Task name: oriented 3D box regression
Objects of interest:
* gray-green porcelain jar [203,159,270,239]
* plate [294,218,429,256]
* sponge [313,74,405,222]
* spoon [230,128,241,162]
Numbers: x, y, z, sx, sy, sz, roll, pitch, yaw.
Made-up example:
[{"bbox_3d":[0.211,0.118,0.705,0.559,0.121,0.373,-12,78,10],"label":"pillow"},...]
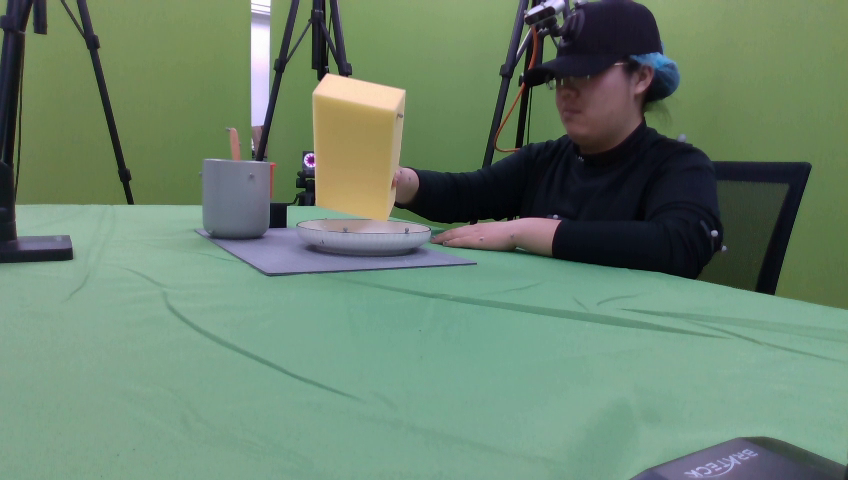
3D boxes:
[{"bbox_3d":[-0.310,-0.068,0.999,0.106,0.126,0.106,3,8,0],"label":"gray-green porcelain jar"},{"bbox_3d":[-0.096,-0.005,0.936,0.208,0.039,0.207,3,7,0],"label":"plate"},{"bbox_3d":[-0.099,-0.132,0.904,0.118,0.207,0.061,14,45,4],"label":"sponge"},{"bbox_3d":[-0.314,-0.109,1.025,0.042,0.193,0.021,-5,-19,-16],"label":"spoon"}]
